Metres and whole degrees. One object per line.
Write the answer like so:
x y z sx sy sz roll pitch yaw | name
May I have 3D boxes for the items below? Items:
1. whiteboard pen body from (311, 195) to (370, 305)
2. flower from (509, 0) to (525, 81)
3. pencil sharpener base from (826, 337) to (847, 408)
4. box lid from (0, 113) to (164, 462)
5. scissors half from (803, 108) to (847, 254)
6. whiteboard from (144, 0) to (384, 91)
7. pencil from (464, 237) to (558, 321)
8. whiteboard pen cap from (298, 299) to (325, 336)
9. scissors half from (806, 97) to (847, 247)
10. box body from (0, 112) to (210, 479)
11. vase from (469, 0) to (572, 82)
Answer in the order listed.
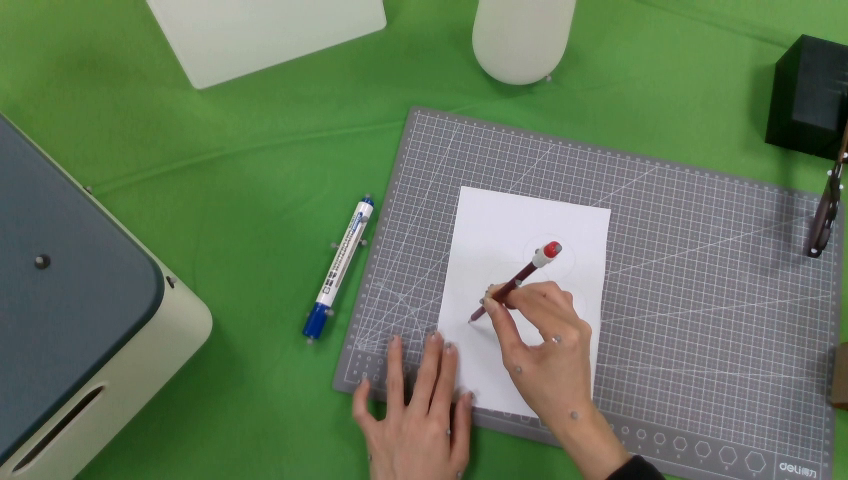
-0.083 0.019 0.578 0.017 0.017 0.140 20 72 6 | whiteboard pen body
0.090 -0.273 0.487 0.044 0.365 0.038 7 55 5 | flower
0.410 0.116 0.509 0.077 0.107 0.061 17 73 1 | pencil sharpener base
-0.395 0.007 0.425 0.370 0.015 0.263 40 76 10 | box lid
0.391 -0.071 0.581 0.012 0.040 0.175 15 93 29 | scissors half
-0.184 -0.333 0.565 0.217 0.308 0.142 -20 55 -6 | whiteboard
0.061 0.038 0.482 0.012 0.194 0.012 6 66 -13 | pencil
-0.103 0.071 0.560 0.018 0.018 0.033 19 70 6 | whiteboard pen cap
0.382 -0.075 0.563 0.013 0.040 0.174 16 75 24 | scissors half
-0.394 0.031 0.496 0.362 0.161 0.254 40 77 10 | box body
0.094 -0.235 0.563 0.098 0.201 0.097 0 72 1 | vase
